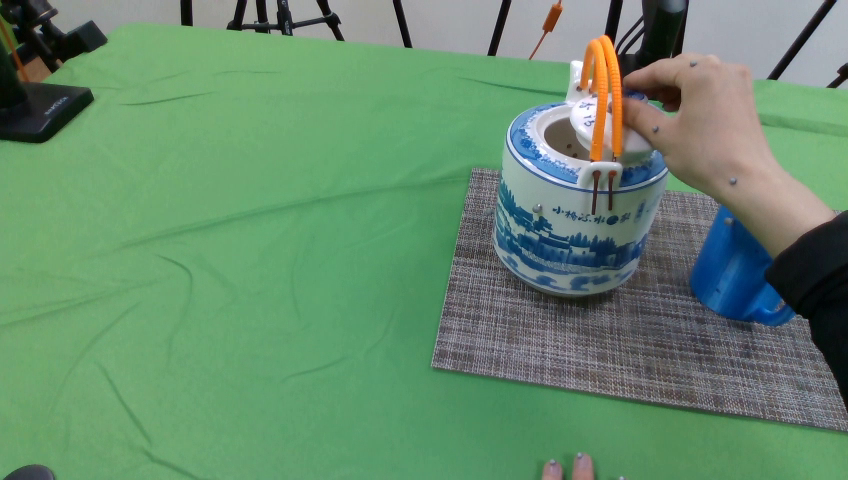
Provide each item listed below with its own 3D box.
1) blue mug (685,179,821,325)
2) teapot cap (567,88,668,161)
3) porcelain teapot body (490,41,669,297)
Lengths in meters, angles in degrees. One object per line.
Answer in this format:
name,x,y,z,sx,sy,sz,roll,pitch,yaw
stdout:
blue mug,0.301,0.020,0.548,0.082,0.107,0.115,-4,43,-6
teapot cap,0.161,-0.101,0.500,0.085,0.044,0.084,6,44,-5
porcelain teapot body,0.141,-0.084,0.568,0.145,0.227,0.203,2,42,1
